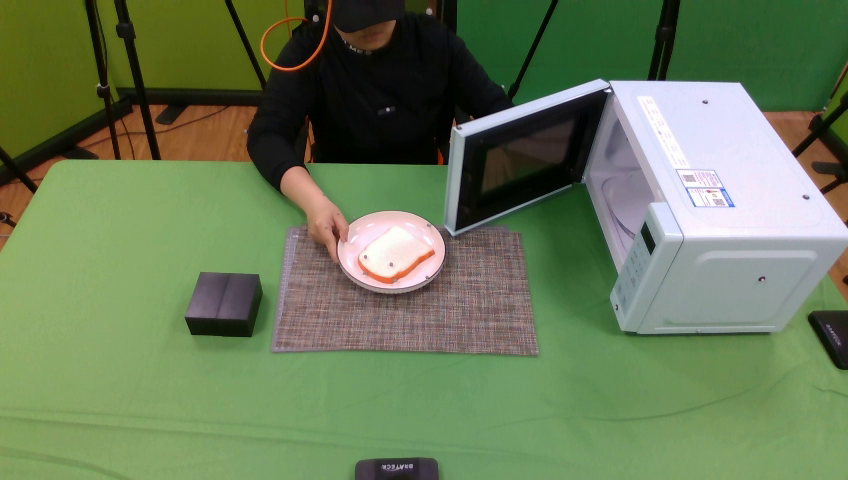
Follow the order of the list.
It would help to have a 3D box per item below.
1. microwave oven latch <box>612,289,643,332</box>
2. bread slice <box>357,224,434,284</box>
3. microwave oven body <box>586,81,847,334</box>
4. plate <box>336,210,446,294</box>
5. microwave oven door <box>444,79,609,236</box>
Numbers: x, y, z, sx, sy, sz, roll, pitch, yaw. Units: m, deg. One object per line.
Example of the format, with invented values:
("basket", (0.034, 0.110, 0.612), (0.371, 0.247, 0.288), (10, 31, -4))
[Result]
("microwave oven latch", (0.357, 0.124, 1.068), (0.030, 0.029, 0.078), (0, 45, -3))
("bread slice", (-0.059, 0.028, 1.153), (0.104, 0.019, 0.131), (34, 53, 26))
("microwave oven body", (0.501, -0.070, 1.132), (0.326, 0.261, 0.438), (-1, 45, -3))
("plate", (-0.062, 0.026, 1.153), (0.209, 0.038, 0.208), (3, 46, -2))
("microwave oven door", (0.203, -0.164, 1.195), (0.356, 0.245, 0.039), (-23, 52, -24))
